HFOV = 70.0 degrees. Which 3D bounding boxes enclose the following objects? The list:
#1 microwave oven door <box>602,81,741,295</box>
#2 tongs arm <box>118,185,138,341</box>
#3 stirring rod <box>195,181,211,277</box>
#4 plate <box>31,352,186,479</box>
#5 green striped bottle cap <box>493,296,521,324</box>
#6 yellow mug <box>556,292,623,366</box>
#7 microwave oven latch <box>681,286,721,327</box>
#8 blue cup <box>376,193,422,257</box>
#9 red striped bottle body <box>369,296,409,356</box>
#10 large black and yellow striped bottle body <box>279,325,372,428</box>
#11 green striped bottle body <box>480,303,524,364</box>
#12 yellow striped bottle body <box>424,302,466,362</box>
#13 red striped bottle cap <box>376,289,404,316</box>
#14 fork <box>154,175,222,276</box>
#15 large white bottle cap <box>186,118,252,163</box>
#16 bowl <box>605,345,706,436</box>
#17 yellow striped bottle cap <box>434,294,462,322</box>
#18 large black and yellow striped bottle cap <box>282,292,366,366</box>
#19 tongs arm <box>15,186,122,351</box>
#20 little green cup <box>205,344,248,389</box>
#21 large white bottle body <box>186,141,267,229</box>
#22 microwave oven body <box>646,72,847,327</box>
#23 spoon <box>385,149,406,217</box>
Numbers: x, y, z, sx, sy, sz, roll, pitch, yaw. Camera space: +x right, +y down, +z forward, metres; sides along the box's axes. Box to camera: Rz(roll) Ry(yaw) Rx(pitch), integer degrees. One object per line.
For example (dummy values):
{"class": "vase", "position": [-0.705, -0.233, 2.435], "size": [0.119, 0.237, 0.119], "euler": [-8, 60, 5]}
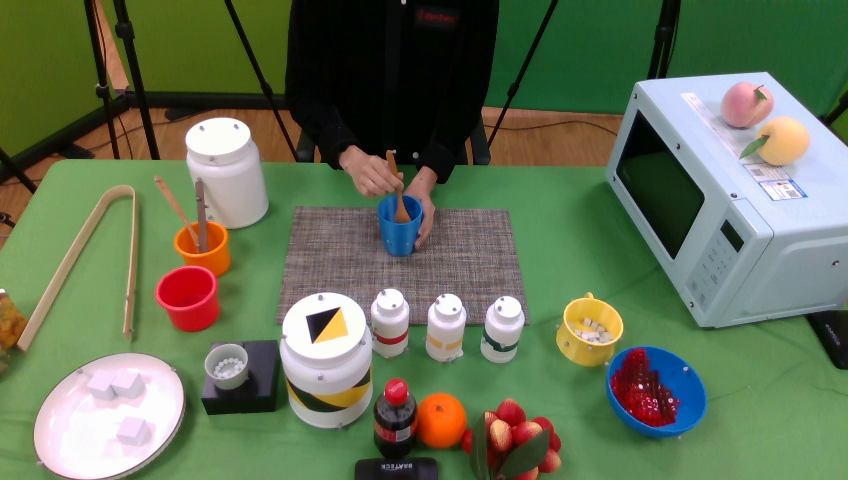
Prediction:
{"class": "microwave oven door", "position": [0.456, -0.107, 1.162], "size": [0.039, 0.245, 0.353], "euler": [-7, 47, -11]}
{"class": "tongs arm", "position": [-0.555, 0.028, 1.116], "size": [0.051, 0.026, 0.382], "euler": [-10, 47, -9]}
{"class": "stirring rod", "position": [-0.403, -0.020, 1.104], "size": [0.014, 0.006, 0.176], "euler": [-6, 90, -9]}
{"class": "plate", "position": [-0.459, 0.262, 0.898], "size": [0.209, 0.038, 0.208], "euler": [2, 46, -2]}
{"class": "green striped bottle cap", "position": [0.133, 0.111, 0.962], "size": [0.044, 0.020, 0.044], "euler": [2, 47, -2]}
{"class": "yellow mug", "position": [0.285, 0.145, 1.051], "size": [0.100, 0.064, 0.130], "euler": [7, 46, 4]}
{"class": "microwave oven latch", "position": [0.494, 0.119, 1.086], "size": [0.030, 0.029, 0.078], "euler": [-5, 46, -9]}
{"class": "blue cup", "position": [-0.049, -0.023, 1.158], "size": [0.093, 0.101, 0.092], "euler": [2, 45, -2]}
{"class": "red striped bottle body", "position": [-0.059, 0.134, 0.997], "size": [0.063, 0.120, 0.062], "euler": [5, 48, -5]}
{"class": "large black and yellow striped bottle body", "position": [-0.143, 0.181, 0.900], "size": [0.131, 0.185, 0.130], "euler": [2, 46, -2]}
{"class": "green striped bottle body", "position": [0.129, 0.147, 1.000], "size": [0.063, 0.120, 0.063], "euler": [2, 46, -2]}
{"class": "yellow striped bottle body", "position": [0.035, 0.143, 0.995], "size": [0.063, 0.121, 0.062], "euler": [3, 46, -3]}
{"class": "red striped bottle cap", "position": [-0.055, 0.098, 0.958], "size": [0.044, 0.018, 0.044], "euler": [0, 48, 1]}
{"class": "fork", "position": [-0.431, -0.027, 1.101], "size": [0.028, 0.018, 0.207], "euler": [-33, 100, -25]}
{"class": "large white bottle cap", "position": [-0.377, -0.185, 1.114], "size": [0.115, 0.018, 0.114], "euler": [2, 47, -2]}
{"class": "bowl", "position": [0.351, 0.247, 0.950], "size": [0.151, 0.077, 0.150], "euler": [2, 46, -2]}
{"class": "yellow striped bottle cap", "position": [0.038, 0.107, 0.958], "size": [0.044, 0.019, 0.044], "euler": [2, 45, -2]}
{"class": "large black and yellow striped bottle cap", "position": [-0.138, 0.121, 0.841], "size": [0.115, 0.019, 0.114], "euler": [3, 47, -3]}
{"class": "tongs arm", "position": [-0.642, 0.035, 1.106], "size": [0.028, 0.028, 0.385], "euler": [-1, 46, 4]}
{"class": "little green cup", "position": [-0.294, 0.191, 0.909], "size": [0.061, 0.039, 0.061], "euler": [1, 47, -1]}
{"class": "large white bottle body", "position": [-0.382, -0.127, 1.175], "size": [0.131, 0.185, 0.130], "euler": [2, 47, -2]}
{"class": "microwave oven body", "position": [0.607, -0.089, 1.163], "size": [0.326, 0.261, 0.438], "euler": [-7, 46, -10]}
{"class": "spoon", "position": [-0.051, -0.083, 1.088], "size": [0.041, 0.195, 0.021], "euler": [10, 43, 21]}
